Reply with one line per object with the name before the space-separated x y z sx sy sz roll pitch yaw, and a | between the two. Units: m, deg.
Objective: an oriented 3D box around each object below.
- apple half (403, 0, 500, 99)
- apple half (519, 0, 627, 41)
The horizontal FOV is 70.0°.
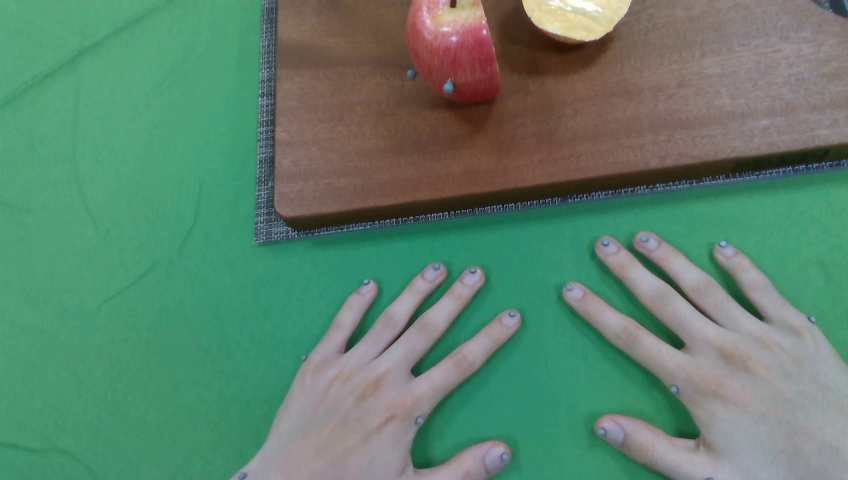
apple half | 0.015 -0.129 0.391 0.053 0.075 0.080 -16 72 8
apple half | 0.097 -0.167 0.413 0.081 0.033 0.081 0 82 1
